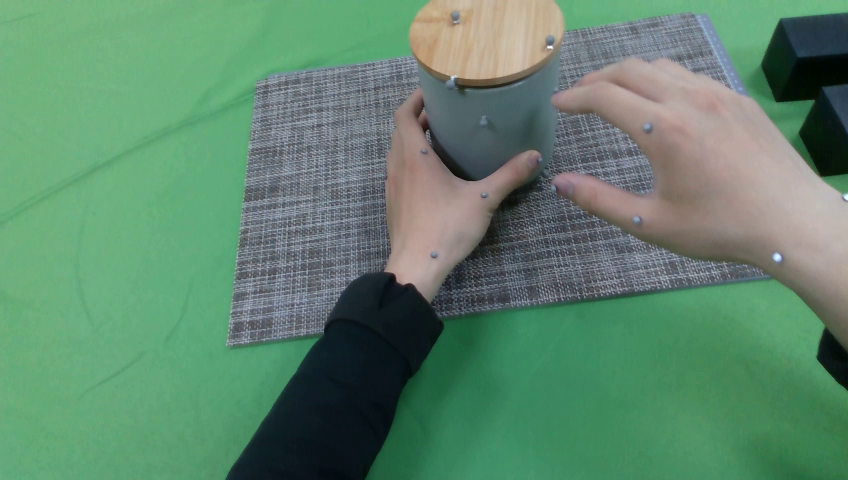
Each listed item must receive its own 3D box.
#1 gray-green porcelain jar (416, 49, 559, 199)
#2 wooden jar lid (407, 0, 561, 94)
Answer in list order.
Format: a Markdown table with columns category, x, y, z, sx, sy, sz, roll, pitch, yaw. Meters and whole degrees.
| category | x | y | z | sx | sy | sz | roll | pitch | yaw |
| --- | --- | --- | --- | --- | --- | --- | --- | --- | --- |
| gray-green porcelain jar | 0.052 | -0.104 | 0.485 | 0.106 | 0.128 | 0.105 | -4 | 56 | 6 |
| wooden jar lid | 0.043 | -0.138 | 0.432 | 0.108 | 0.021 | 0.107 | -3 | 55 | 5 |
